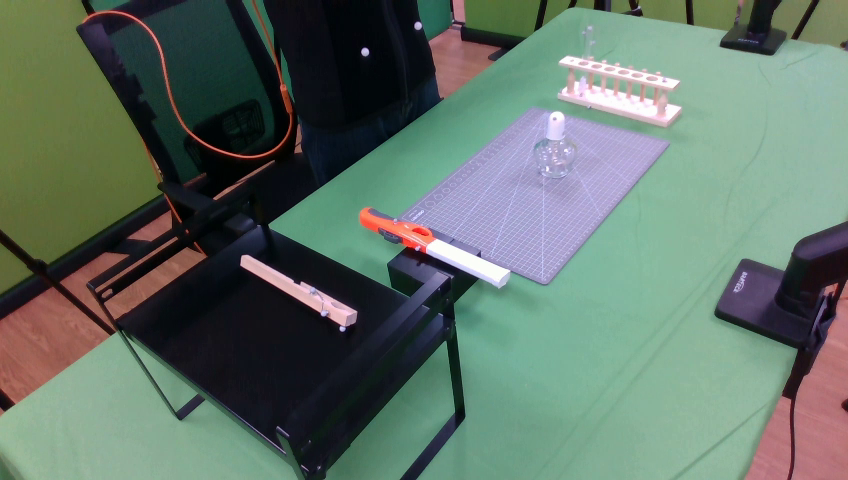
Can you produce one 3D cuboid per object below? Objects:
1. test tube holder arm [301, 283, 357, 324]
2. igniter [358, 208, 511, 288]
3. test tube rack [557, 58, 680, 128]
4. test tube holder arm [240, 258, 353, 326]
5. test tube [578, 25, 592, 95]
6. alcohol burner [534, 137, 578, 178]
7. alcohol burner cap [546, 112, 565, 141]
[{"bbox_3d":[-0.105,0.066,0.638,0.087,0.015,0.010,22,14,33],"label":"test tube holder arm"},{"bbox_3d":[0.005,0.005,0.892,0.274,0.025,0.057,24,38,31],"label":"igniter"},{"bbox_3d":[0.395,-0.309,1.230,0.240,0.085,0.067,25,50,33],"label":"test tube rack"},{"bbox_3d":[-0.143,0.053,0.658,0.177,0.015,0.013,21,14,32],"label":"test tube holder arm"},{"bbox_3d":[0.326,-0.362,1.227,0.017,0.151,0.017,-3,44,4],"label":"test tube"},{"bbox_3d":[0.232,-0.170,1.065,0.078,0.119,0.077,-5,39,5],"label":"alcohol burner"},{"bbox_3d":[0.229,-0.198,1.042,0.034,0.048,0.033,-3,39,3],"label":"alcohol burner cap"}]
